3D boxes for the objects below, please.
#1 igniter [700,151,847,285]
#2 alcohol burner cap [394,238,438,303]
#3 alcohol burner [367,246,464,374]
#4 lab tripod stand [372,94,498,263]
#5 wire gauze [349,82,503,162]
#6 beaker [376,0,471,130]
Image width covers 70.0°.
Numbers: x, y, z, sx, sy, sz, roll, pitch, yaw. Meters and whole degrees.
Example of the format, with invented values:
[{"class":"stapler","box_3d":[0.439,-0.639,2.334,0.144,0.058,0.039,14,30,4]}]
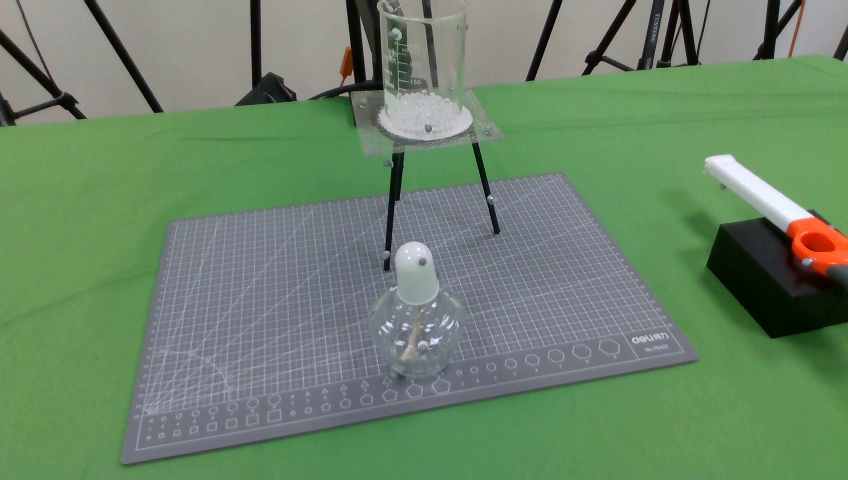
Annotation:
[{"class":"igniter","box_3d":[0.336,-0.010,0.533,0.057,0.025,0.273,-9,36,-9]},{"class":"alcohol burner cap","box_3d":[-0.007,0.019,0.445,0.034,0.048,0.033,-2,42,2]},{"class":"alcohol burner","box_3d":[-0.007,0.047,0.468,0.078,0.120,0.077,0,41,0]},{"class":"lab tripod stand","box_3d":[0.003,-0.065,0.592,0.148,0.132,0.147,1,37,0]},{"class":"wire gauze","box_3d":[-0.003,-0.114,0.548,0.122,0.011,0.123,-8,41,-8]},{"class":"beaker","box_3d":[-0.004,-0.153,0.519,0.083,0.101,0.074,31,47,33]}]
